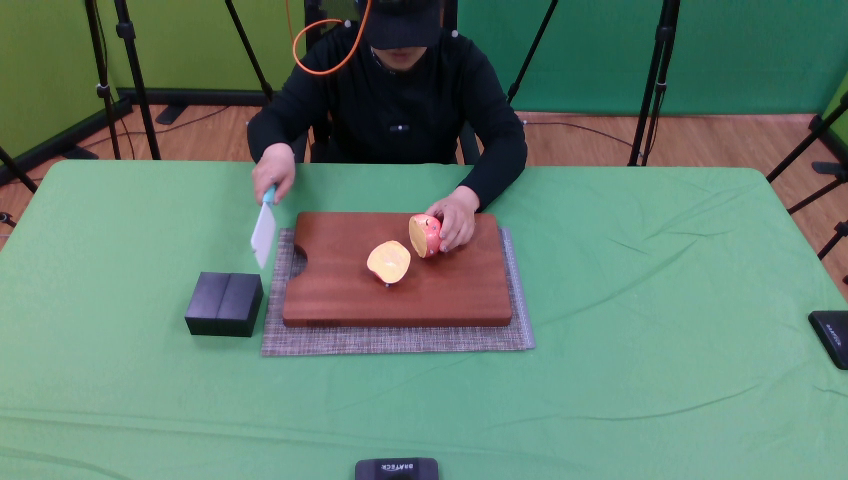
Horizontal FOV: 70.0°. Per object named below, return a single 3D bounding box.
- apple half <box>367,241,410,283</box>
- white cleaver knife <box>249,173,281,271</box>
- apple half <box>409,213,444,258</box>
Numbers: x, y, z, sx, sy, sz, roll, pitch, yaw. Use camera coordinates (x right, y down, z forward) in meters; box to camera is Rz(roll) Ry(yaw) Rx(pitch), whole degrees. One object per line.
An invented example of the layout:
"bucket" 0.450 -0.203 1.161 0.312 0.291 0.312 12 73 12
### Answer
"apple half" -0.059 0.043 1.100 0.081 0.033 0.081 -3 67 7
"white cleaver knife" -0.285 -0.041 1.094 0.021 0.066 0.284 -8 32 1
"apple half" 0.010 -0.010 1.134 0.053 0.075 0.080 -15 45 -23
